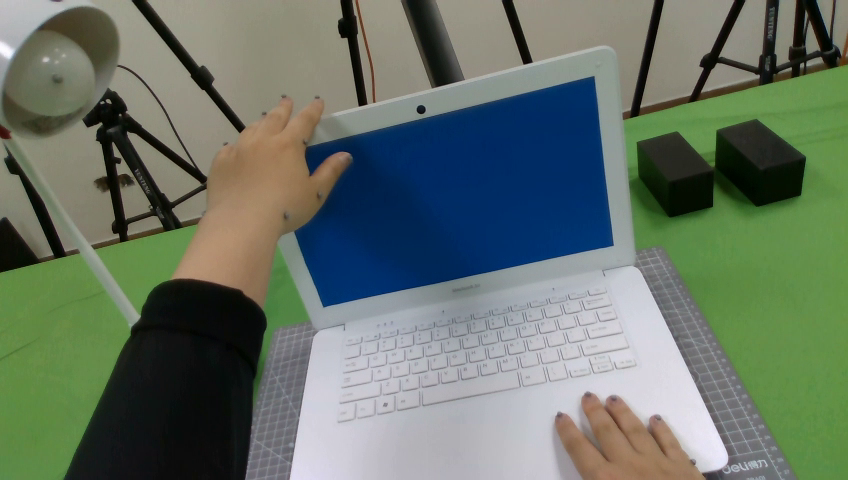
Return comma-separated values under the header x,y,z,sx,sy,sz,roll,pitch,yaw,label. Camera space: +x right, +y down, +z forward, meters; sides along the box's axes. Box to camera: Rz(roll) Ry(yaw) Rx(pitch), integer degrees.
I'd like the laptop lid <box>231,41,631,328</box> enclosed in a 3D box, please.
x,y,z,sx,sy,sz,roll,pitch,yaw,label
0.016,-0.037,0.595,0.356,0.244,0.013,-14,29,7,laptop lid

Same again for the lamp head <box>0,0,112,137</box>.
x,y,z,sx,sy,sz,roll,pitch,yaw,label
-0.316,-0.150,0.443,0.123,0.113,0.112,29,47,3,lamp head

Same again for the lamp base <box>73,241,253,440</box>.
x,y,z,sx,sy,sz,roll,pitch,yaw,label
-0.293,0.087,0.627,0.178,0.182,0.160,13,45,39,lamp base

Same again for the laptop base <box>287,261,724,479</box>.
x,y,z,sx,sy,sz,roll,pitch,yaw,label
0.051,0.135,0.558,0.354,0.023,0.233,-13,39,6,laptop base
